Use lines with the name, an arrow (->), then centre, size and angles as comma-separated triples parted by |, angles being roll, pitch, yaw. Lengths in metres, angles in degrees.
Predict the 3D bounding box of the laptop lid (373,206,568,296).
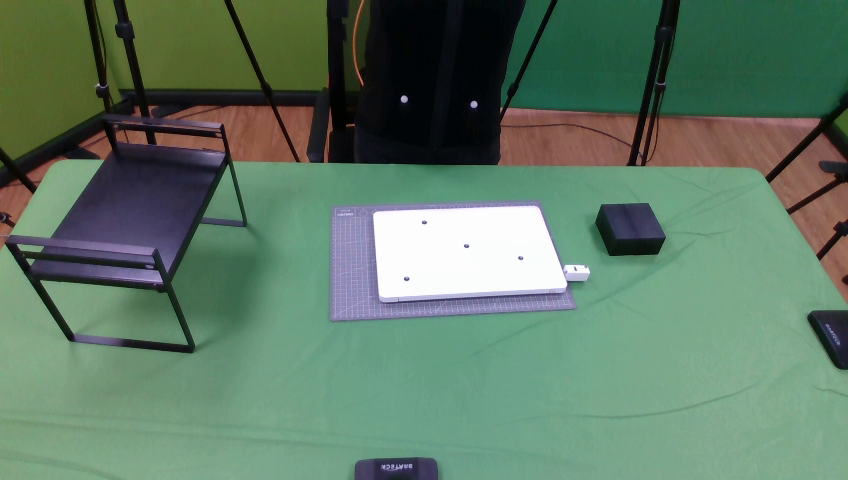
laptop lid -> 0.081, 0.014, 1.174 | 0.357, 0.013, 0.240 | -1, 44, -5

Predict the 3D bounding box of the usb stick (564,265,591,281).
usb stick -> 0.282, 0.062, 1.144 | 0.059, 0.027, 0.021 | -1, 46, -6

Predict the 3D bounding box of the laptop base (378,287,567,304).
laptop base -> 0.081, 0.024, 1.181 | 0.355, 0.023, 0.234 | -3, 43, -6
